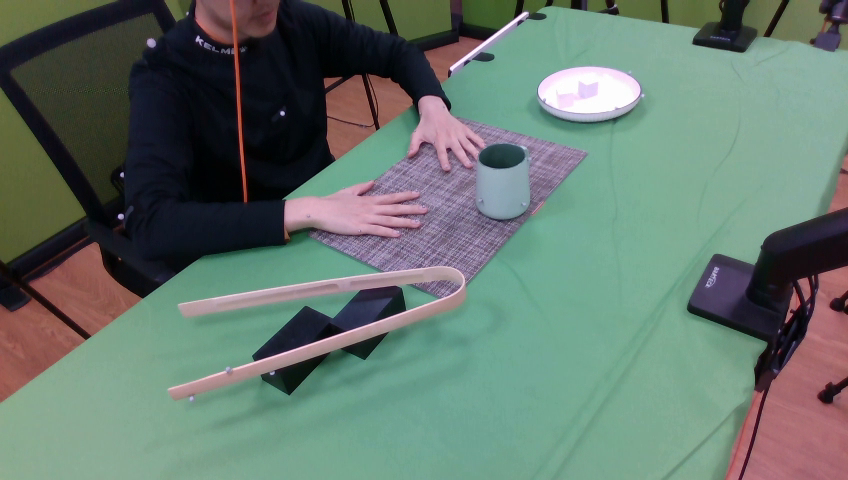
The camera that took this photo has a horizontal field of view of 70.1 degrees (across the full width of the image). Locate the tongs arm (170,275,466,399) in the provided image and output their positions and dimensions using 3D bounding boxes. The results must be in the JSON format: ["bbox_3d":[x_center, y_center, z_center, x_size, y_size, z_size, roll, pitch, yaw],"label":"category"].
[{"bbox_3d":[-0.122,0.120,0.768,0.386,0.026,0.050,-16,38,-10],"label":"tongs arm"}]

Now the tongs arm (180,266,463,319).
[{"bbox_3d":[-0.139,0.073,0.828,0.388,0.028,0.028,-8,34,0],"label":"tongs arm"}]

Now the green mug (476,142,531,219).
[{"bbox_3d":[0.140,-0.106,1.002,0.092,0.105,0.125,21,48,30],"label":"green mug"}]

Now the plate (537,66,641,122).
[{"bbox_3d":[0.338,-0.299,1.255,0.209,0.038,0.208,-4,41,4],"label":"plate"}]
